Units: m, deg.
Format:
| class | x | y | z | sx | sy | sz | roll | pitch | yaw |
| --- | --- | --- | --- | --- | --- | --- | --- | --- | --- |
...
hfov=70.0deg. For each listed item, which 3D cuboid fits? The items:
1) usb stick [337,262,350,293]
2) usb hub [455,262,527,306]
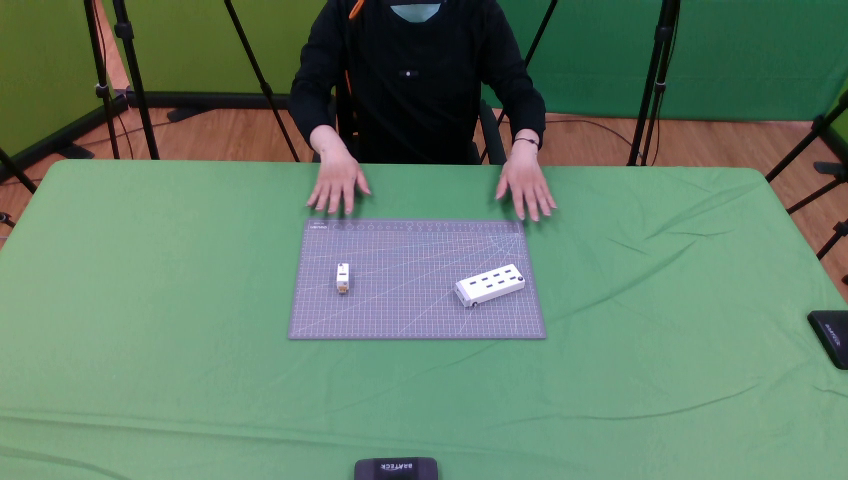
| class | x | y | z | sx | sy | sz | roll | pitch | yaw |
| --- | --- | --- | --- | --- | --- | --- | --- | --- | --- |
| usb stick | -0.148 | 0.071 | 1.109 | 0.021 | 0.027 | 0.059 | 1 | 49 | -5 |
| usb hub | 0.124 | 0.082 | 1.117 | 0.125 | 0.025 | 0.049 | -17 | 50 | -18 |
